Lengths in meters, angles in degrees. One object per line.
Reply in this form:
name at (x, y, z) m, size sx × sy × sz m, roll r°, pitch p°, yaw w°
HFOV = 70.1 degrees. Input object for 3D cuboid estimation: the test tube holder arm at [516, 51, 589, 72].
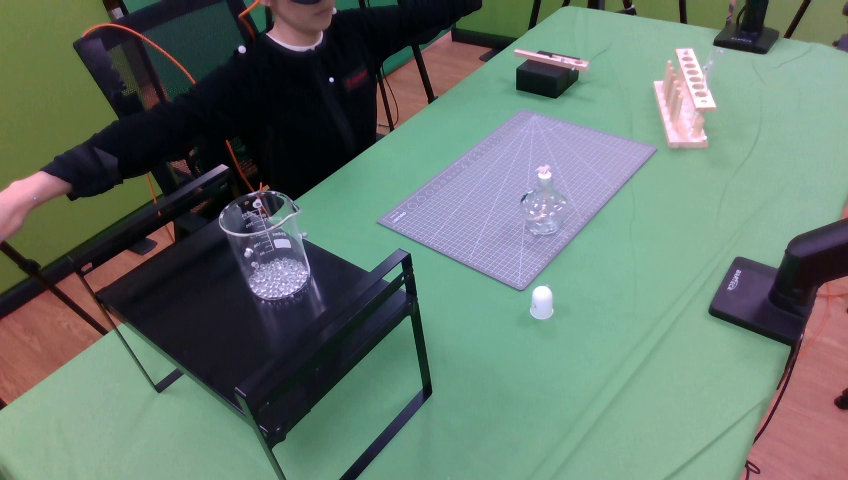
test tube holder arm at (0.277, -0.391, 1.318) m, size 0.177 × 0.015 × 0.013 m, roll 22°, pitch 58°, yaw 32°

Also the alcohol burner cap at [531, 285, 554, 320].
alcohol burner cap at (0.164, 0.084, 0.838) m, size 0.034 × 0.048 × 0.033 m, roll -4°, pitch 40°, yaw 4°

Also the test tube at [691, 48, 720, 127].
test tube at (0.505, -0.270, 1.088) m, size 0.017 × 0.151 × 0.017 m, roll -1°, pitch 40°, yaw 2°

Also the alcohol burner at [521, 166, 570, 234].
alcohol burner at (0.192, -0.068, 0.951) m, size 0.078 × 0.119 × 0.077 m, roll -4°, pitch 42°, yaw 4°

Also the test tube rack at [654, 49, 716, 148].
test tube rack at (0.502, -0.281, 1.176) m, size 0.066 × 0.085 × 0.241 m, roll 2°, pitch 41°, yaw 11°

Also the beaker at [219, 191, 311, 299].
beaker at (-0.164, 0.008, 0.654) m, size 0.084 × 0.101 × 0.073 m, roll -10°, pitch 41°, yaw -3°

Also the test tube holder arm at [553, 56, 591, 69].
test tube holder arm at (0.315, -0.380, 1.297) m, size 0.087 × 0.015 × 0.010 m, roll 22°, pitch 58°, yaw 32°
